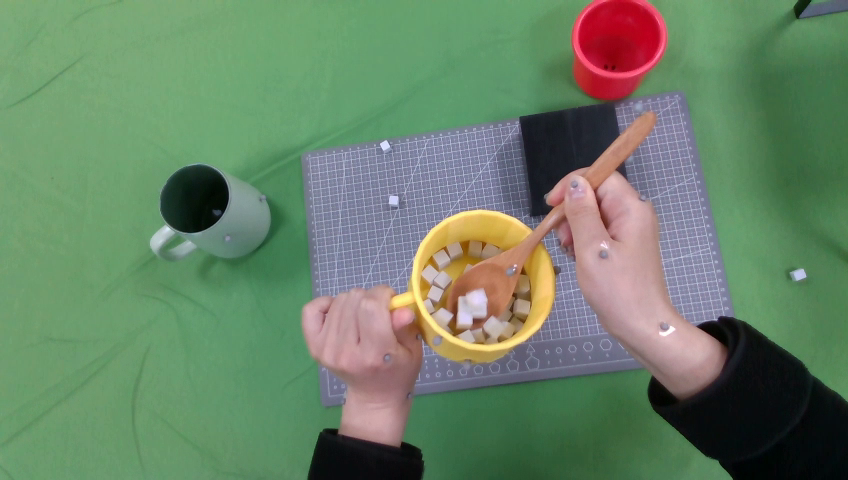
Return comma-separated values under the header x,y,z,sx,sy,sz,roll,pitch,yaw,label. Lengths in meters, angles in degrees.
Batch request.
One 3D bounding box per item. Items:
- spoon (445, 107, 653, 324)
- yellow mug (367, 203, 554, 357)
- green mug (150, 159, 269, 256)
x,y,z,sx,sy,sz,roll,pitch,yaw,label
0.083,-0.013,0.413,0.041,0.021,0.194,45,113,8,spoon
0.023,0.035,0.436,0.131,0.064,0.099,-15,75,-8,yellow mug
-0.244,-0.026,0.674,0.125,0.105,0.092,-40,78,-2,green mug
